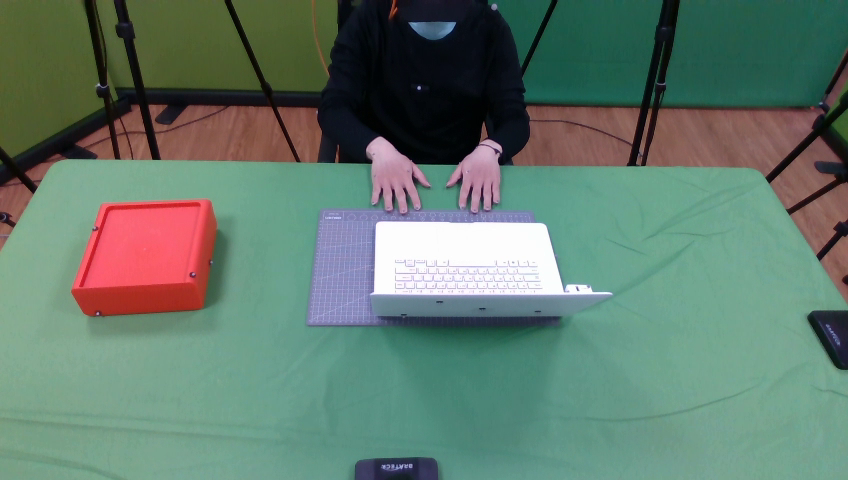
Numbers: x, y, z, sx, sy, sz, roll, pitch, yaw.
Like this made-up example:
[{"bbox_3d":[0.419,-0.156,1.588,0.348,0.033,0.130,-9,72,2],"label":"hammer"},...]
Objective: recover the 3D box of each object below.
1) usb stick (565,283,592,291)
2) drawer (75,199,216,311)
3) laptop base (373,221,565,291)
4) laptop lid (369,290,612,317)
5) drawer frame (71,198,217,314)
[{"bbox_3d":[0.276,0.095,1.113,0.059,0.027,0.021,-1,46,-6],"label":"usb stick"},{"bbox_3d":[-0.494,0.023,1.098,0.195,0.073,0.210,-2,47,-8],"label":"drawer"},{"bbox_3d":[0.080,0.049,1.158,0.355,0.023,0.234,0,43,-4],"label":"laptop base"},{"bbox_3d":[0.091,0.104,0.965,0.357,0.242,0.013,1,75,-5],"label":"laptop lid"},{"bbox_3d":[-0.493,0.023,1.096,0.202,0.083,0.212,-3,47,-8],"label":"drawer frame"}]
